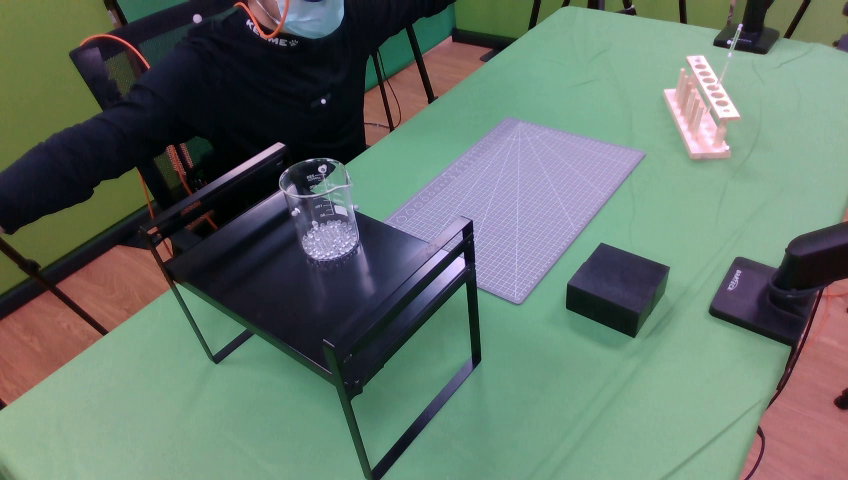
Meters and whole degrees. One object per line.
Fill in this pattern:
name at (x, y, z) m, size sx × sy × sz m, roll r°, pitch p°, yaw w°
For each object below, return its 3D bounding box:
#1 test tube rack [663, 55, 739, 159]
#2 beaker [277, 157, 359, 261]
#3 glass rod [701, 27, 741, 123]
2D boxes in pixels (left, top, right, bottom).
test tube rack at (0.518, -0.256, 1.144) m, size 0.066 × 0.085 × 0.241 m, roll -1°, pitch 41°, yaw 8°
beaker at (-0.114, -0.033, 0.688) m, size 0.084 × 0.101 × 0.074 m, roll 5°, pitch 43°, yaw 13°
glass rod at (0.527, -0.288, 1.078) m, size 0.008 × 0.200 × 0.008 m, roll -1°, pitch 50°, yaw 2°
